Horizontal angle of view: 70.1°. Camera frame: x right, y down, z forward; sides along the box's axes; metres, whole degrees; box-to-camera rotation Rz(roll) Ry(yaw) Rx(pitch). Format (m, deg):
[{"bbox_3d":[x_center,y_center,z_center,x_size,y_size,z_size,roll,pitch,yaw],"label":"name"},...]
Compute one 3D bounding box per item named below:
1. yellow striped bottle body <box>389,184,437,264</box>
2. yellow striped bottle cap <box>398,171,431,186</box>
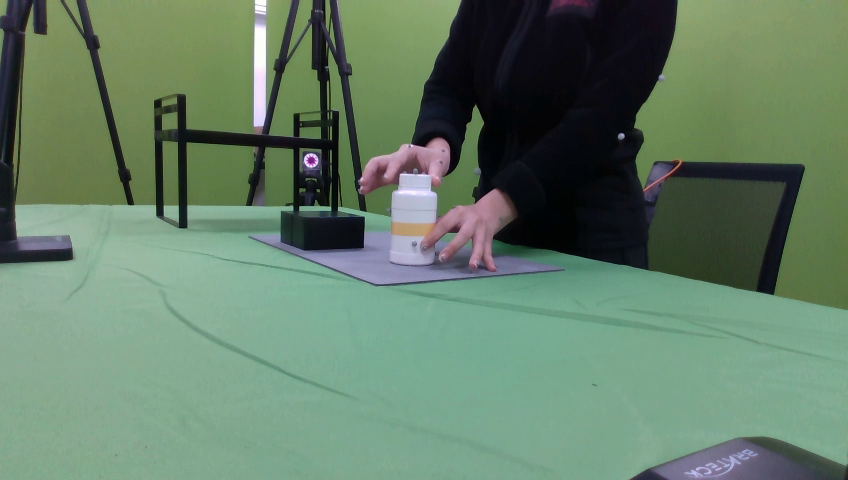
[{"bbox_3d":[-0.014,-0.031,0.816,0.063,0.120,0.063,2,7,0],"label":"yellow striped bottle body"},{"bbox_3d":[-0.013,-0.082,0.809,0.044,0.018,0.044,2,9,0],"label":"yellow striped bottle cap"}]
